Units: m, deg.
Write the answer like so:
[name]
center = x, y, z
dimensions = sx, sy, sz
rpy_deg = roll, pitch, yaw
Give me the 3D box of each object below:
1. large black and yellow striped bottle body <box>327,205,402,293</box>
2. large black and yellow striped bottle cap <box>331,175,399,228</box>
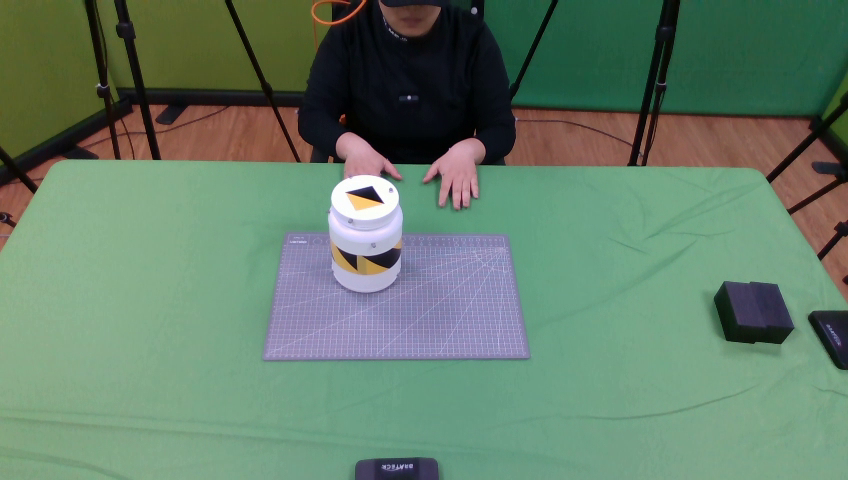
[large black and yellow striped bottle body]
center = -0.105, -0.009, 1.083
dimensions = 0.131, 0.185, 0.130
rpy_deg = 2, 46, -2
[large black and yellow striped bottle cap]
center = -0.099, -0.067, 1.022
dimensions = 0.115, 0.019, 0.114
rpy_deg = 2, 47, -2
